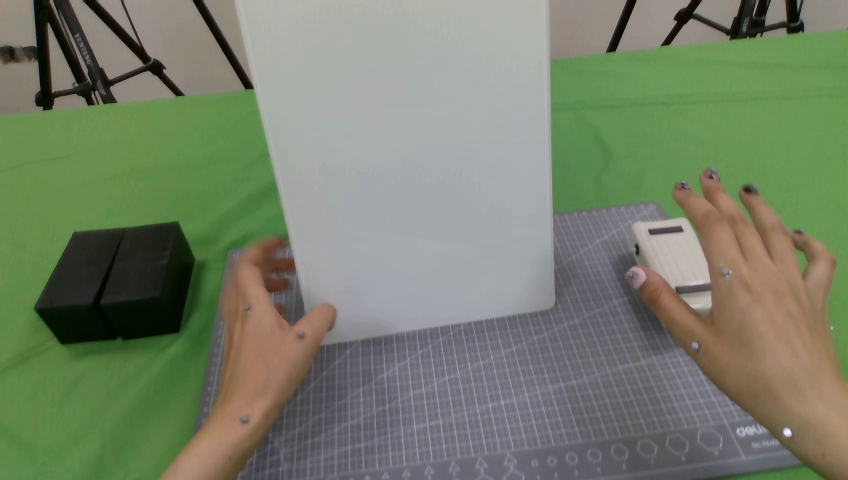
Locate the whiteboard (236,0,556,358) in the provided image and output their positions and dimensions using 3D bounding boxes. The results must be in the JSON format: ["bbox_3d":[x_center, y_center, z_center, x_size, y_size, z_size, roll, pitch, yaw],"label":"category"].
[{"bbox_3d":[-0.013,-0.080,0.529,0.217,0.307,0.142,-8,23,-3],"label":"whiteboard"}]

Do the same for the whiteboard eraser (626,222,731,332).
[{"bbox_3d":[0.222,0.033,0.536,0.055,0.042,0.111,-4,42,0],"label":"whiteboard eraser"}]
